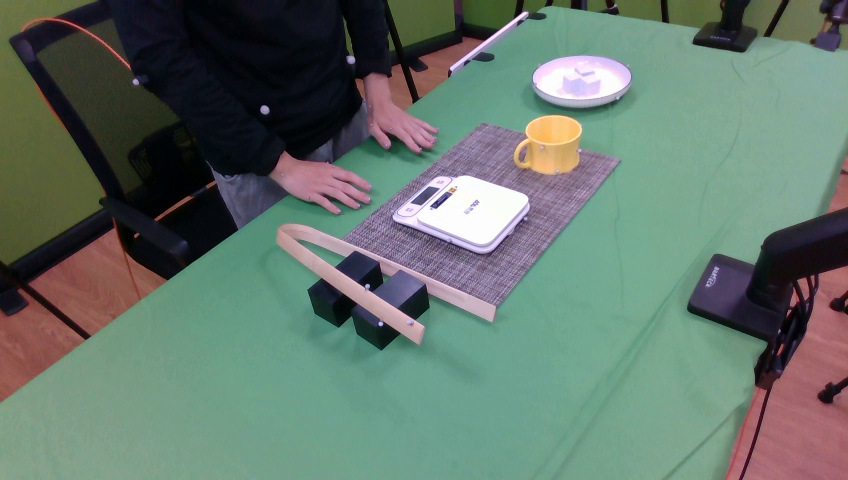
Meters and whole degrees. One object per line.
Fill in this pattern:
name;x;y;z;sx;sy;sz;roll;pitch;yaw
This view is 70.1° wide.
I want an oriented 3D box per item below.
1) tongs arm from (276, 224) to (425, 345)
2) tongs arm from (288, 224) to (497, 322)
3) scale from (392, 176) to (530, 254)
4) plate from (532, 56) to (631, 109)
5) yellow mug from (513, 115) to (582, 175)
tongs arm;-0.114;0.050;0.856;0.051;0.026;0.381;-7;24;-44
tongs arm;-0.060;0.043;0.918;0.384;0.028;0.028;21;24;28
scale;0.060;-0.050;1.006;0.199;0.032;0.149;22;48;30
plate;0.336;-0.336;1.301;0.207;0.039;0.206;-4;41;4
yellow mug;0.220;-0.168;1.094;0.131;0.064;0.099;-21;42;-14
